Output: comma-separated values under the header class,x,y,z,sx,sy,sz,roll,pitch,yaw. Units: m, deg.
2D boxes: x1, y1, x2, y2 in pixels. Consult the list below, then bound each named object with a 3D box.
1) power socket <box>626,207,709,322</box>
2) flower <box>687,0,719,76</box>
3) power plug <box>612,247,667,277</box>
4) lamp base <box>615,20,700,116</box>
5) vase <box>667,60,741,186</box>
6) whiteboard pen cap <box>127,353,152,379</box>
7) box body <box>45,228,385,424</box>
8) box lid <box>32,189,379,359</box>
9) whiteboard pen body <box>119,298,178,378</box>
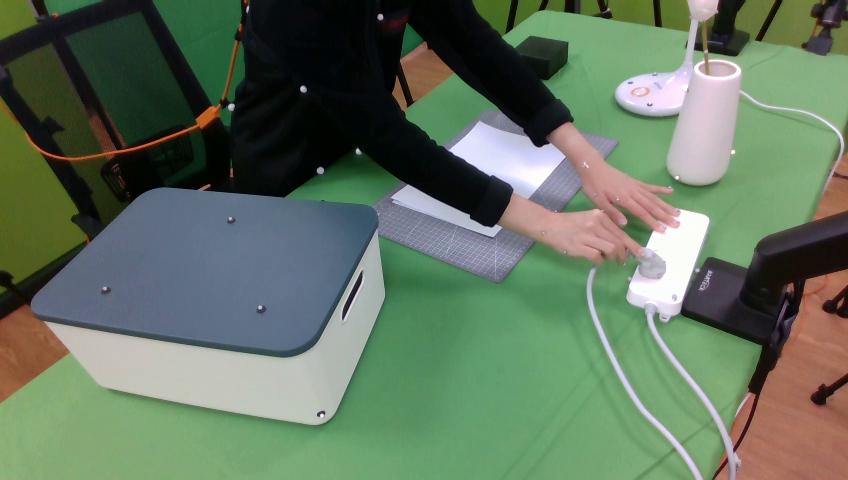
class,x,y,z,sx,sy,sz,roll,pitch,yaw
power socket,0.360,0.026,0.886,0.072,0.033,0.227,17,46,26
flower,0.436,-0.242,0.934,0.038,0.364,0.043,-24,49,8
power plug,0.306,0.031,0.853,0.072,0.053,0.035,22,49,38
lamp base,0.484,-0.364,1.211,0.180,0.181,0.159,-15,41,-14
vase,0.463,-0.189,0.994,0.098,0.201,0.097,-4,40,3
whiteboard pen cap,-0.385,0.170,0.820,0.018,0.018,0.033,7,42,16
box body,-0.254,0.082,0.807,0.363,0.161,0.253,5,42,14
box lid,-0.260,0.025,0.758,0.370,0.015,0.263,5,41,14
whiteboard pen body,-0.396,0.139,0.869,0.017,0.017,0.140,6,46,15
